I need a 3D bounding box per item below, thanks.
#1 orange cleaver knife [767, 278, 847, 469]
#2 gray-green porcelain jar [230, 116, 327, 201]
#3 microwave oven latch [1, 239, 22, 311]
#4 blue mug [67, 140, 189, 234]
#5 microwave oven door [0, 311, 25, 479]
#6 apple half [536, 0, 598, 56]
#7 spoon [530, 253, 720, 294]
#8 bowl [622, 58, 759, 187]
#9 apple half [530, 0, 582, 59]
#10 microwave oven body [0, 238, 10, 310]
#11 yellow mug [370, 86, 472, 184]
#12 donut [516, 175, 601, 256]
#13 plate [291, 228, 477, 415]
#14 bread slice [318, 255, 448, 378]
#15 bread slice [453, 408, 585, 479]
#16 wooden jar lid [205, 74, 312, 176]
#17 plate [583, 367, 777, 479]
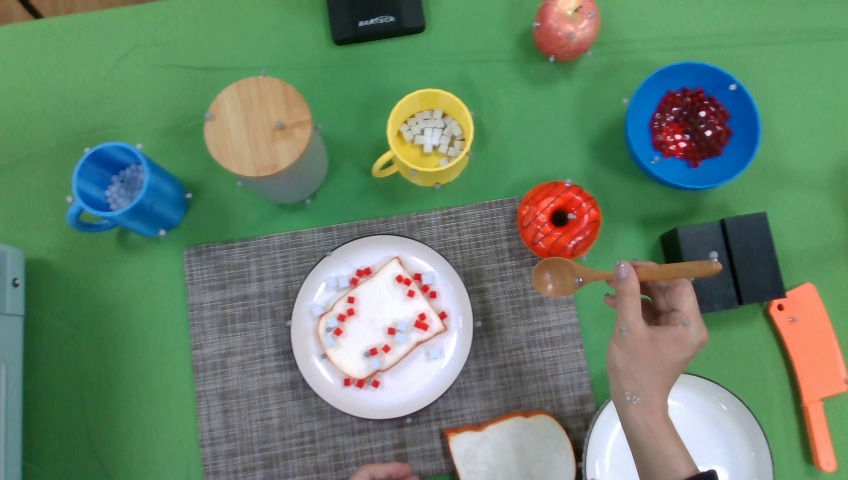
[{"bbox_3d":[0.452,0.150,0.696,0.077,0.012,0.210,-7,79,-7],"label":"orange cleaver knife"},{"bbox_3d":[-0.168,-0.104,0.685,0.106,0.127,0.105,0,80,0],"label":"gray-green porcelain jar"},{"bbox_3d":[-0.476,0.040,0.686,0.030,0.029,0.079,-4,81,-1],"label":"microwave oven latch"},{"bbox_3d":[-0.341,-0.048,0.685,0.116,0.106,0.082,-34,81,-5],"label":"blue mug"},{"bbox_3d":[-0.456,0.237,0.550,0.039,0.244,0.354,-6,80,-1],"label":"microwave oven door"},{"bbox_3d":[0.179,-0.270,0.739,0.053,0.075,0.080,-41,79,-12],"label":"apple half"},{"bbox_3d":[0.170,0.028,0.544,0.022,0.193,0.041,-13,93,-34],"label":"spoon"},{"bbox_3d":[0.299,-0.127,0.712,0.151,0.077,0.151,0,81,1],"label":"bowl"},{"bbox_3d":[0.151,-0.244,0.733,0.033,0.081,0.081,-42,82,-11],"label":"apple half"},{"bbox_3d":[-0.606,0.211,0.560,0.326,0.261,0.440,-6,81,-1],"label":"microwave oven body"},{"bbox_3d":[-0.007,-0.115,0.717,0.131,0.064,0.099,-33,82,-4],"label":"yellow mug"},{"bbox_3d":[0.157,-0.027,0.709,0.099,0.048,0.098,0,81,0],"label":"donut"},{"bbox_3d":[-0.044,0.092,0.693,0.208,0.039,0.207,0,81,0],"label":"plate"},{"bbox_3d":[-0.053,0.095,0.693,0.131,0.019,0.104,-36,82,-6],"label":"bread slice"},{"bbox_3d":[0.109,0.241,0.644,0.135,0.018,0.106,-13,76,-22],"label":"bread slice"},{"bbox_3d":[-0.169,-0.116,0.624,0.108,0.021,0.108,0,78,1],"label":"wooden jar lid"},{"bbox_3d":[0.278,0.246,0.670,0.209,0.038,0.208,0,80,1],"label":"plate"}]
